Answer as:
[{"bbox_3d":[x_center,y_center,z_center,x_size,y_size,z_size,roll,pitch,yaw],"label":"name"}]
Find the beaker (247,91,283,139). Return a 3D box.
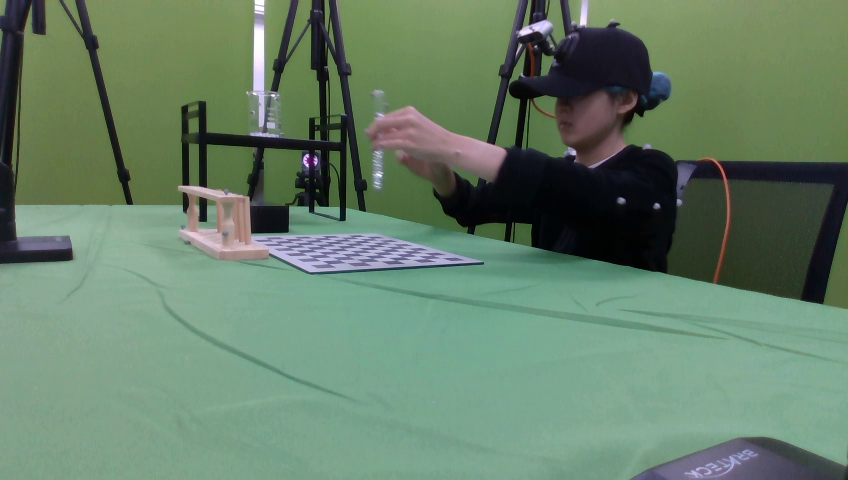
[{"bbox_3d":[-0.357,-0.278,1.348,0.073,0.100,0.084,9,10,39],"label":"beaker"}]

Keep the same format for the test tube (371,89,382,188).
[{"bbox_3d":[-0.073,-0.155,0.924,0.017,0.150,0.017,2,7,0],"label":"test tube"}]

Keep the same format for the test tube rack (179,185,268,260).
[{"bbox_3d":[-0.303,-0.031,0.898,0.067,0.085,0.241,-2,9,-33],"label":"test tube rack"}]
